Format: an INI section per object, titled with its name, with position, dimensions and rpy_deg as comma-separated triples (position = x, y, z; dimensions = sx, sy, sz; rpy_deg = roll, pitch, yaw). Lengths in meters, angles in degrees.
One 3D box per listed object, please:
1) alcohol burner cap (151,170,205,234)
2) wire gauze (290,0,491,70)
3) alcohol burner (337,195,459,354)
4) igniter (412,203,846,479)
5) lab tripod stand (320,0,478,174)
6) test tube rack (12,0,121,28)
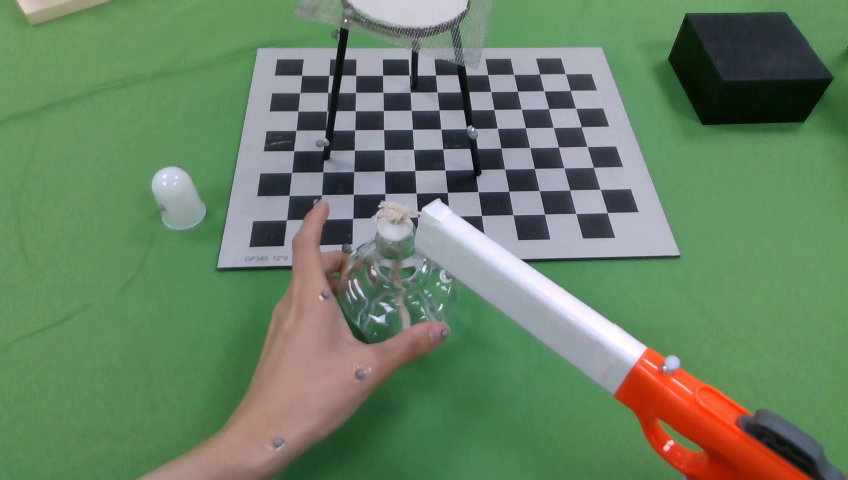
[alcohol burner cap]
position = -0.186, -0.031, 0.450
dimensions = 0.034, 0.048, 0.033
rpy_deg = 2, 52, -2
[wire gauze]
position = -0.014, -0.166, 0.414
dimensions = 0.125, 0.011, 0.120
rpy_deg = 13, 52, 5
[alcohol burner]
position = -0.016, 0.019, 0.374
dimensions = 0.078, 0.120, 0.077
rpy_deg = 0, 51, 0
[igniter]
position = 0.102, 0.069, 0.275
dimensions = 0.274, 0.057, 0.025
rpy_deg = 36, 48, 22
[lab tripod stand]
position = -0.013, -0.128, 0.470
dimensions = 0.148, 0.132, 0.147
rpy_deg = 3, 52, -3
[test tube rack]
position = -0.315, -0.313, 0.632
dimensions = 0.242, 0.086, 0.066
rpy_deg = -30, 60, -23
